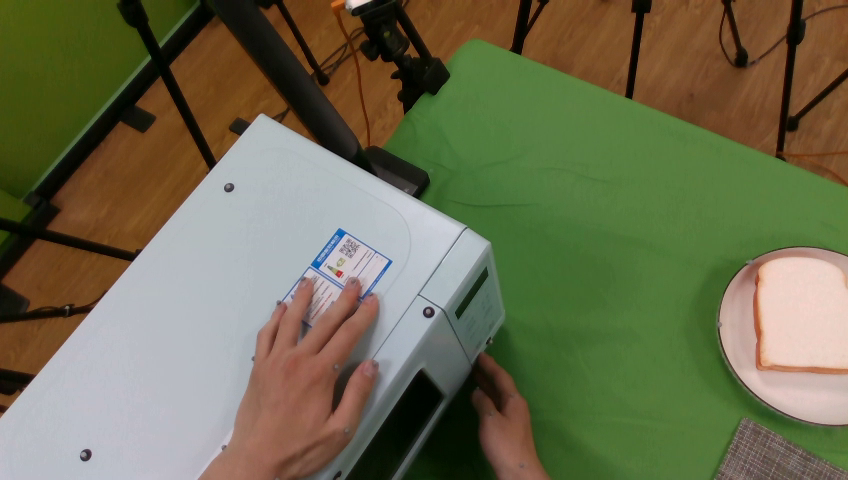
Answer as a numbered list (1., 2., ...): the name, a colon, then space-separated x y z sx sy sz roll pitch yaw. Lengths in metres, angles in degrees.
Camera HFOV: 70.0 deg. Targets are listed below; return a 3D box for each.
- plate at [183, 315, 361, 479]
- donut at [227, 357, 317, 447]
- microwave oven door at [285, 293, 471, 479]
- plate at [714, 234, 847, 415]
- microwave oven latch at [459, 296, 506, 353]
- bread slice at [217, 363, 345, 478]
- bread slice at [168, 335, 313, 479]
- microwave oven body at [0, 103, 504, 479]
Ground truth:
1. plate: -0.171 0.190 0.695 0.209 0.038 0.207 -3 70 8
2. donut: -0.167 0.179 0.673 0.099 0.048 0.098 1 64 -1
3. microwave oven door: -0.076 0.233 0.601 0.039 0.246 0.355 30 76 21
4. plate: 0.440 0.095 0.692 0.207 0.039 0.206 -4 67 9
5. microwave oven latch: 0.070 0.099 0.741 0.030 0.030 0.079 35 78 22
6. bread slice: -0.173 0.216 0.714 0.132 0.019 0.104 -25 64 -28
7. bread slice: -0.188 0.169 0.648 0.106 0.018 0.134 40 72 13
8. microwave oven body: -0.167 0.133 0.666 0.324 0.262 0.440 30 77 21
